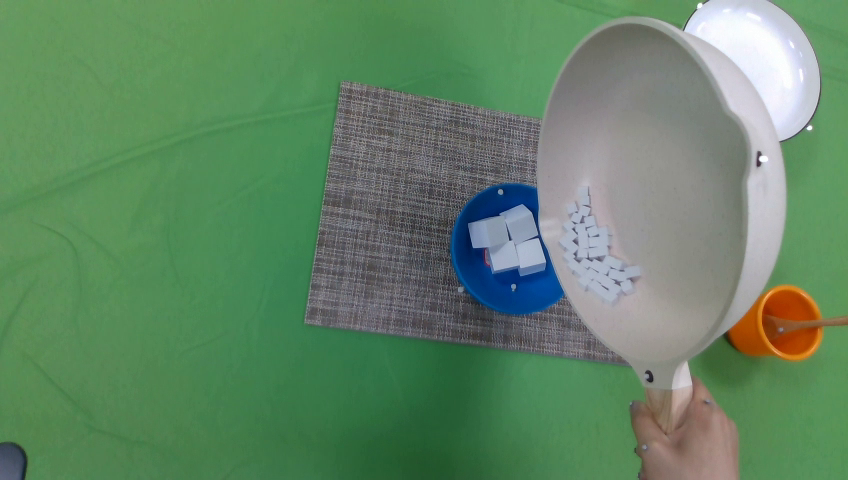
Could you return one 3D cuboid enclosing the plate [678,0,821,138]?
[{"bbox_3d":[0.414,-0.225,0.791,0.208,0.039,0.207,2,81,-11],"label":"plate"}]

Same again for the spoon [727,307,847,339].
[{"bbox_3d":[0.476,0.094,0.737,0.022,0.193,0.041,6,75,-56],"label":"spoon"}]

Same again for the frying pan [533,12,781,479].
[{"bbox_3d":[0.194,0.058,0.518,0.103,0.306,0.486,-1,82,-14],"label":"frying pan"}]

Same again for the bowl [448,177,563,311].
[{"bbox_3d":[0.094,0.011,0.706,0.152,0.077,0.151,2,80,-11],"label":"bowl"}]
